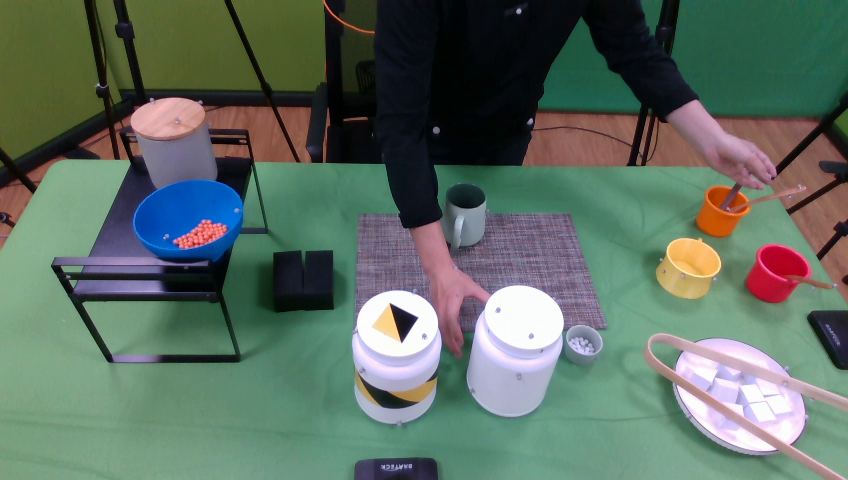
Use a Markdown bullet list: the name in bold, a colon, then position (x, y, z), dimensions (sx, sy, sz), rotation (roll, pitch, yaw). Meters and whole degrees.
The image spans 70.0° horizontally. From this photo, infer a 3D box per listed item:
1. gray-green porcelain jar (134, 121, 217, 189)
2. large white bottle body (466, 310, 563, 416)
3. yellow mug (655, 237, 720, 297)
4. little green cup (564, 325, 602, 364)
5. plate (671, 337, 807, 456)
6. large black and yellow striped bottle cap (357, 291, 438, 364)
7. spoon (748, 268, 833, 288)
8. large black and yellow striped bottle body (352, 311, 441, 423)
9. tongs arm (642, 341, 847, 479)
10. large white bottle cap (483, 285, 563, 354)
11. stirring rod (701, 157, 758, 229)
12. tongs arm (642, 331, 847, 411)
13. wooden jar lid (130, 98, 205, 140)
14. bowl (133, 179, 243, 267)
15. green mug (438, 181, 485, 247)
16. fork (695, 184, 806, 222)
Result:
- **gray-green porcelain jar**: position (-0.397, -0.141, 0.980), dimensions (0.106, 0.127, 0.105), rotation (2, 47, -2)
- **large white bottle body**: position (0.138, 0.171, 0.932), dimensions (0.131, 0.185, 0.130), rotation (2, 46, -2)
- **yellow mug**: position (0.509, 0.041, 1.167), dimensions (0.099, 0.064, 0.130), rotation (24, 48, 18)
- **little green cup**: position (0.269, 0.180, 1.035), dimensions (0.061, 0.039, 0.061), rotation (2, 45, -1)
- **plate**: position (0.503, 0.254, 0.984), dimensions (0.208, 0.039, 0.206), rotation (2, 46, -2)
- **large black and yellow striped bottle cap**: position (-0.037, 0.121, 0.850), dimensions (0.115, 0.019, 0.114), rotation (2, 46, -1)
- **spoon**: position (0.660, 0.068, 1.097), dimensions (0.041, 0.193, 0.021), rotation (-4, 91, -6)
- **large black and yellow striped bottle body**: position (-0.042, 0.178, 0.912), dimensions (0.131, 0.185, 0.130), rotation (2, 46, -2)
- **tongs arm**: position (0.504, 0.278, 0.918), dimensions (0.386, 0.028, 0.028), rotation (34, 59, 22)
- **large white bottle cap**: position (0.142, 0.112, 0.871), dimensions (0.115, 0.018, 0.114), rotation (3, 46, -2)
- **stirring rod**: position (0.634, -0.097, 1.257), dimensions (0.014, 0.006, 0.176), rotation (38, 97, 28)
- **tongs arm**: position (0.546, 0.227, 0.968), dimensions (0.384, 0.026, 0.050), rotation (22, 52, 13)
- **wooden jar lid**: position (-0.393, -0.183, 0.934), dimensions (0.108, 0.021, 0.107), rotation (2, 43, -2)
- **bowl**: position (-0.339, -0.013, 0.895), dimensions (0.151, 0.077, 0.150), rotation (2, 46, -2)
- **green mug**: position (0.071, -0.040, 1.177), dimensions (0.092, 0.105, 0.124), rotation (12, 47, 7)
- **fork**: position (0.658, -0.074, 1.229), dimensions (0.207, 0.019, 0.028), rotation (-23, 35, 37)
